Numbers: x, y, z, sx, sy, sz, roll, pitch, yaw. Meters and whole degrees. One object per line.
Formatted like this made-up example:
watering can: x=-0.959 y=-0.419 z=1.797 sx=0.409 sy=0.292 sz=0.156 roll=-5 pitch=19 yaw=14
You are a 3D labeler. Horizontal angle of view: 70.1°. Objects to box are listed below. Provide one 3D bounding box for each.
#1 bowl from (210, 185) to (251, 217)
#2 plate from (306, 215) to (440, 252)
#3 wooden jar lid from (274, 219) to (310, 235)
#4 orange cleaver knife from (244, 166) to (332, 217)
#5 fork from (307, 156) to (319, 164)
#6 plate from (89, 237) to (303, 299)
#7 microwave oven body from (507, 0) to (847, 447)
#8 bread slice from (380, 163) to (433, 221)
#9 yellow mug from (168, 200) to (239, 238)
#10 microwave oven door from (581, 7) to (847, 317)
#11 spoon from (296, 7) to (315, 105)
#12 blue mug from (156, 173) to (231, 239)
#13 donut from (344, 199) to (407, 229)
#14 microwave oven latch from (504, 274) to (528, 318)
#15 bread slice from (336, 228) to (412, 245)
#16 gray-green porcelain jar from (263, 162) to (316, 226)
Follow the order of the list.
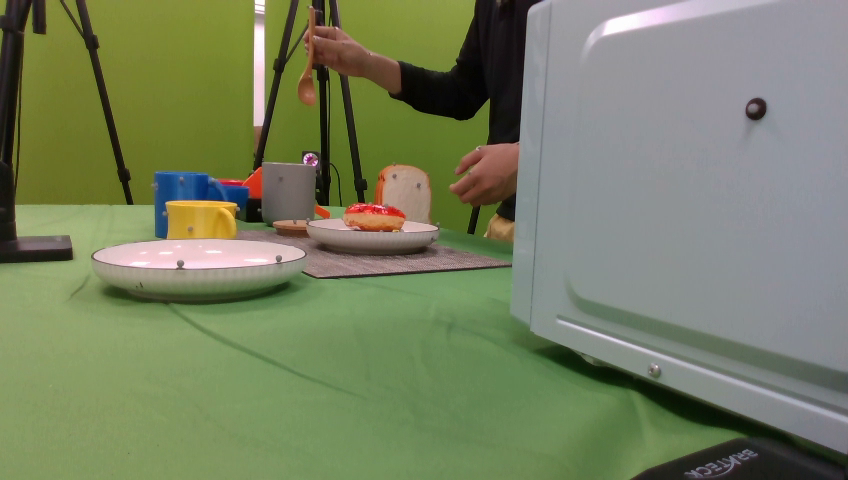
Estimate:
bowl: x=-0.408 y=-0.064 z=1.155 sx=0.151 sy=0.077 sz=0.151 roll=2 pitch=8 yaw=0
plate: x=-0.079 y=-0.011 z=0.950 sx=0.209 sy=0.038 sz=0.209 roll=2 pitch=8 yaw=0
wooden jar lid: x=-0.213 y=-0.023 z=1.081 sx=0.108 sy=0.020 sz=0.108 roll=3 pitch=7 yaw=0
orange cleaver knife: x=-0.301 y=-0.089 z=1.351 sx=0.212 sy=0.077 sz=0.012 roll=32 pitch=-11 yaw=-34
fork: x=-0.331 y=-0.144 z=1.505 sx=0.207 sy=0.018 sz=0.028 roll=-42 pitch=-21 yaw=22
plate: x=-0.233 y=0.029 z=0.637 sx=0.208 sy=0.039 sz=0.207 roll=2 pitch=7 yaw=0
microwave oven body: x=0.331 y=-0.042 z=0.425 sx=0.444 sy=0.260 sz=0.324 roll=-2 pitch=8 yaw=-31
bread slice: x=-0.035 y=-0.076 z=1.125 sx=0.107 sy=0.134 sz=0.018 roll=-4 pitch=1 yaw=-25
yellow mug: x=-0.320 y=-0.023 z=0.904 sx=0.130 sy=0.064 sz=0.100 roll=9 pitch=11 yaw=36
microwave oven door: x=0.295 y=-0.067 z=0.570 sx=0.358 sy=0.243 sz=0.039 roll=-3 pitch=8 yaw=-31
spoon: x=-0.223 y=-0.358 z=1.175 sx=0.042 sy=0.193 sz=0.021 roll=6 pitch=-2 yaw=-41
blue mug: x=-0.381 y=-0.057 z=1.004 sx=0.117 sy=0.106 sz=0.082 roll=1 pitch=8 yaw=-12
donut: x=-0.076 y=-0.039 z=0.949 sx=0.099 sy=0.048 sz=0.099 roll=3 pitch=4 yaw=0
microwave oven latch: x=0.100 y=0.041 z=0.471 sx=0.079 sy=0.029 sz=0.030 roll=-1 pitch=8 yaw=-28
bread slice: x=-0.074 y=-0.006 z=0.938 sx=0.105 sy=0.019 sz=0.131 roll=-2 pitch=5 yaw=-18
gray-green porcelain jar: x=-0.271 y=-0.092 z=1.217 sx=0.106 sy=0.126 sz=0.106 roll=2 pitch=7 yaw=0
